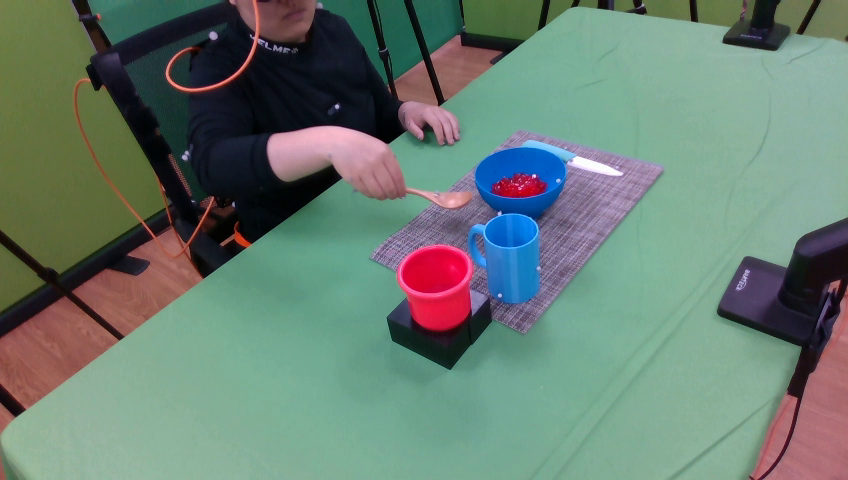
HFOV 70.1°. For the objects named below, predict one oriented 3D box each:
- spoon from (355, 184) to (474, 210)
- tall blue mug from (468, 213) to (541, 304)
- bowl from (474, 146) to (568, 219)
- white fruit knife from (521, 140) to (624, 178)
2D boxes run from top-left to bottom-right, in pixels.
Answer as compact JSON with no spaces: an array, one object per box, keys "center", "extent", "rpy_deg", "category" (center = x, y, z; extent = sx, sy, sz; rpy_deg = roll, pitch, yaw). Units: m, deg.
[{"center":[-0.018,-0.070,0.903],"extent":[0.193,0.022,0.041],"rpy_deg":[11,45,20],"category":"spoon"},{"center":[0.111,0.026,0.856],"extent":[0.107,0.108,0.077],"rpy_deg":[2,42,13],"category":"tall blue mug"},{"center":[0.161,-0.083,1.001],"extent":[0.151,0.077,0.150],"rpy_deg":[-5,40,5],"category":"bowl"},{"center":[0.270,-0.149,1.110],"extent":[0.206,0.016,0.027],"rpy_deg":[25,80,32],"category":"white fruit knife"}]
